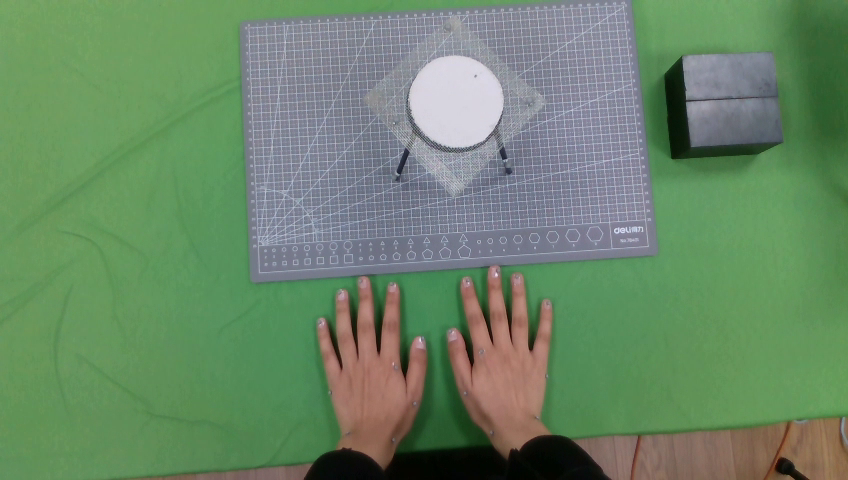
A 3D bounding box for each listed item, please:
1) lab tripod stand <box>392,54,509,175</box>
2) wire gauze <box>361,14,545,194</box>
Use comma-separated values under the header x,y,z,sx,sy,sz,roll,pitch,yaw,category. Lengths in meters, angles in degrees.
x,y,z,sx,sy,sz,roll,pitch,yaw,category
0.030,-0.119,0.616,0.148,0.131,0.148,0,83,-2,lab tripod stand
0.026,-0.127,0.549,0.121,0.011,0.125,-44,87,-5,wire gauze
